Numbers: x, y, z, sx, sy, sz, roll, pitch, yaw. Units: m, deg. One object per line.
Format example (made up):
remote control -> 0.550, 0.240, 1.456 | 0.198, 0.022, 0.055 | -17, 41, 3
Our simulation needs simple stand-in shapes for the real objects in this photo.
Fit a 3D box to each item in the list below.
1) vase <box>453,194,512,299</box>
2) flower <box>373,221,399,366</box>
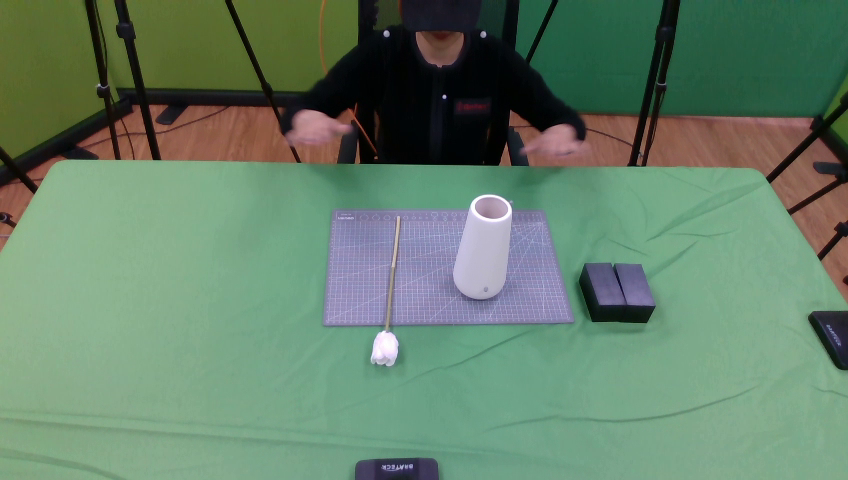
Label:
vase -> 0.107, 0.016, 1.065 | 0.098, 0.201, 0.097 | 3, 47, -3
flower -> -0.061, 0.080, 1.122 | 0.044, 0.038, 0.359 | -26, 36, 22
